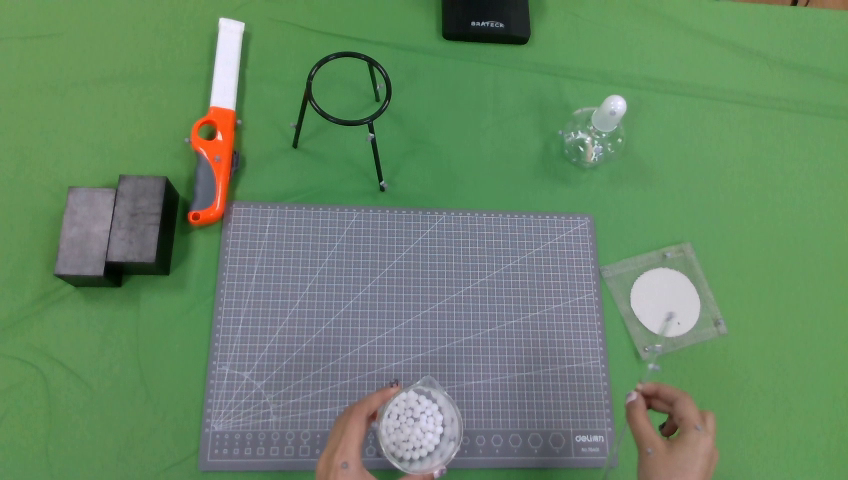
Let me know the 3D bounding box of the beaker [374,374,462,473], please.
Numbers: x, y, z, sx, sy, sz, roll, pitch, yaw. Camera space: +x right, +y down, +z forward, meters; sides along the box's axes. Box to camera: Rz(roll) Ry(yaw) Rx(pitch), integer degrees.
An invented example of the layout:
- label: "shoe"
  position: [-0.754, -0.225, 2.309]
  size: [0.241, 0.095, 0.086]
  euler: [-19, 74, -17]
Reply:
- label: "beaker"
  position: [-0.010, 0.170, 0.569]
  size: [0.074, 0.100, 0.083]
  euler: [12, 74, -5]

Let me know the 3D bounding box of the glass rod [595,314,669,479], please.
- label: "glass rod"
  position: [0.199, 0.163, 0.589]
  size: [0.008, 0.008, 0.200]
  euler: [17, 102, -1]

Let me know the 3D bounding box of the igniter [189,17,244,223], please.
- label: "igniter"
  position: [-0.249, -0.149, 0.736]
  size: [0.057, 0.025, 0.275]
  euler: [7, 71, -20]

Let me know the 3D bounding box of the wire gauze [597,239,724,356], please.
- label: "wire gauze"
  position: [0.291, 0.068, 0.740]
  size: [0.125, 0.011, 0.120]
  euler: [-16, 75, -9]

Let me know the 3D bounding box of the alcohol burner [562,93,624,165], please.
- label: "alcohol burner"
  position: [0.213, -0.141, 0.742]
  size: [0.078, 0.119, 0.077]
  euler: [2, 70, -5]

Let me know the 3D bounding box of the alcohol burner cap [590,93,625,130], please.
- label: "alcohol burner cap"
  position: [0.217, -0.152, 0.708]
  size: [0.034, 0.048, 0.033]
  euler: [1, 76, -3]

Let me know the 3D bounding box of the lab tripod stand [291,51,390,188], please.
- label: "lab tripod stand"
  position: [-0.086, -0.146, 0.699]
  size: [0.148, 0.132, 0.147]
  euler: [2, 70, -5]
